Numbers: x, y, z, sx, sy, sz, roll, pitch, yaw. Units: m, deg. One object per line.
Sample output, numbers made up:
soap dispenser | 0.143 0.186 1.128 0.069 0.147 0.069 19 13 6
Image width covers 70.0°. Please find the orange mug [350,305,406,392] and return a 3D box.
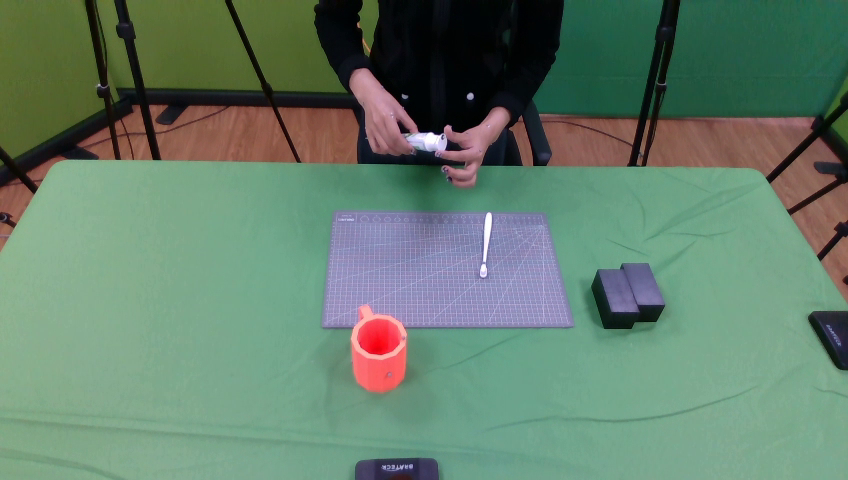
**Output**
orange mug | -0.080 0.168 0.978 0.083 0.101 0.125 -16 54 -18

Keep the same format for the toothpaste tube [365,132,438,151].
toothpaste tube | -0.034 -0.190 1.152 0.164 0.034 0.055 11 2 36

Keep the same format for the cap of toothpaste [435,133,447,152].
cap of toothpaste | 0.030 -0.178 1.103 0.011 0.037 0.037 16 47 25

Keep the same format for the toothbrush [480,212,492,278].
toothbrush | 0.124 0.004 1.202 0.014 0.017 0.181 -2 43 13
